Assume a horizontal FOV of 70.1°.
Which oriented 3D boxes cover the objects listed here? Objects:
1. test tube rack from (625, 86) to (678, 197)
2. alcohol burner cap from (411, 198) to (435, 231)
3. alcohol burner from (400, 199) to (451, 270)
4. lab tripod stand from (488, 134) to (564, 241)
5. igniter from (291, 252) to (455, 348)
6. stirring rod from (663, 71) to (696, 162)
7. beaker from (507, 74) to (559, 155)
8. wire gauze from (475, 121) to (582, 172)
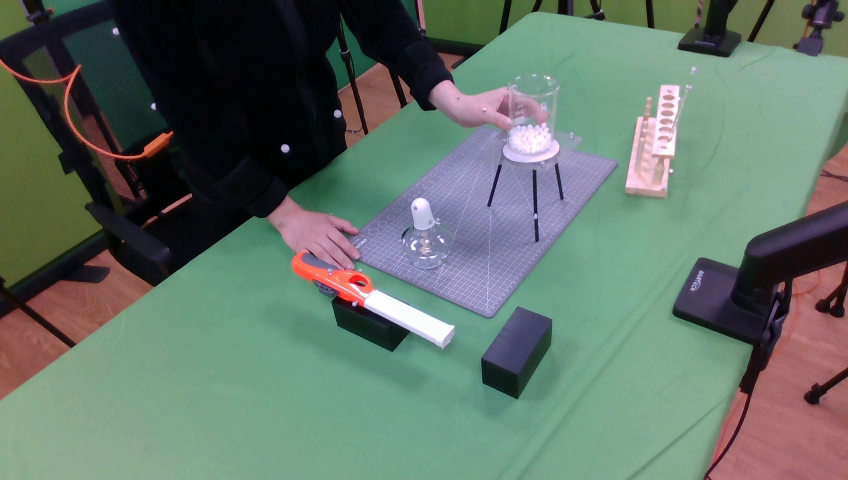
[{"bbox_3d":[0.412,-0.184,1.088,0.066,0.085,0.242,9,43,18],"label":"test tube rack"},{"bbox_3d":[-0.003,-0.040,0.893,0.034,0.048,0.033,-8,41,7],"label":"alcohol burner cap"},{"bbox_3d":[0.001,-0.013,0.917,0.078,0.119,0.077,-5,41,5],"label":"alcohol burner"},{"bbox_3d":[0.168,-0.092,0.972,0.148,0.132,0.147,-5,41,5],"label":"lab tripod stand"},{"bbox_3d":[-0.080,0.076,0.822,0.274,0.025,0.057,23,46,27],"label":"igniter"},{"bbox_3d":[0.410,-0.196,0.981,0.014,0.177,0.006,11,50,13],"label":"stirring rod"},{"bbox_3d":[0.163,-0.186,0.902,0.084,0.100,0.073,-28,45,-27],"label":"beaker"},{"bbox_3d":[0.161,-0.143,0.928,0.120,0.011,0.125,20,47,31],"label":"wire gauze"}]
